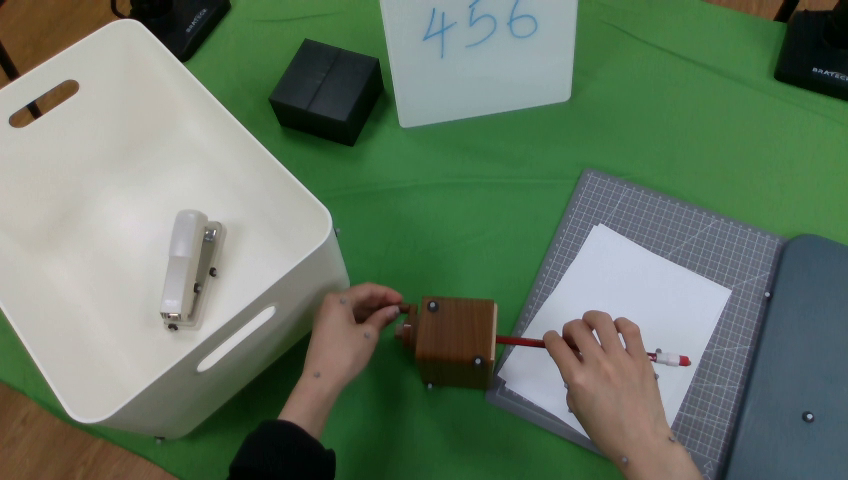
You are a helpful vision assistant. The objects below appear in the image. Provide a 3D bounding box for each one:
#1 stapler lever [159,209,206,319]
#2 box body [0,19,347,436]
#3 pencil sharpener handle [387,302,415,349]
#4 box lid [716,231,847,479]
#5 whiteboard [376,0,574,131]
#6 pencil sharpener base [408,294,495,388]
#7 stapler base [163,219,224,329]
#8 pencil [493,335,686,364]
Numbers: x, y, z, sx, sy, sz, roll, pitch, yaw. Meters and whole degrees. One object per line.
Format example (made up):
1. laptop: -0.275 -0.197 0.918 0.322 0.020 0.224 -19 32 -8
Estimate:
1. stapler lever: -0.256 0.023 0.639 0.027 0.040 0.117 2 67 7
2. box body: -0.280 -0.014 0.616 0.254 0.161 0.361 -41 69 -15
3. pencil sharpener handle: -0.024 0.077 0.571 0.030 0.036 0.067 4 20 6
4. box lid: 0.435 0.180 0.570 0.262 0.015 0.370 22 68 12
5. whiteboard: 0.050 -0.309 0.694 0.217 0.308 0.142 -9 45 -1
6. pencil sharpener base: 0.026 0.098 0.577 0.076 0.108 0.061 4 65 5
7. stapler base: -0.254 0.032 0.663 0.041 0.024 0.129 3 67 6
8. pencil: 0.136 0.095 0.534 0.194 0.012 0.012 6 64 -2
